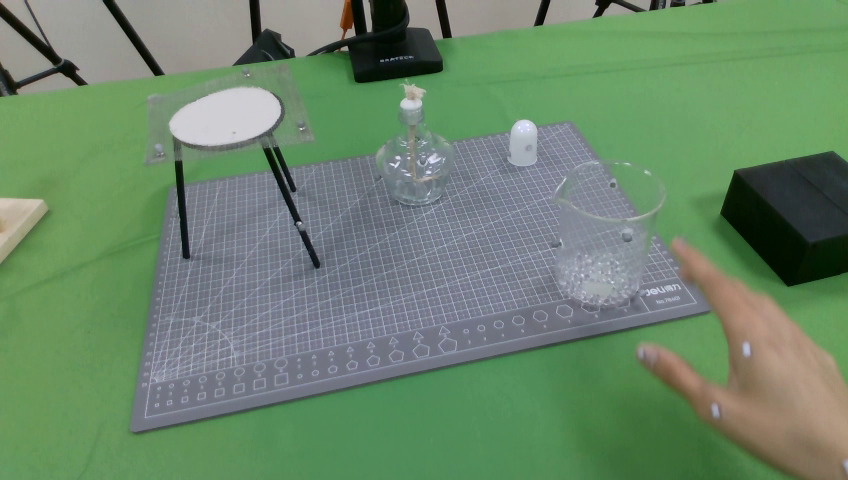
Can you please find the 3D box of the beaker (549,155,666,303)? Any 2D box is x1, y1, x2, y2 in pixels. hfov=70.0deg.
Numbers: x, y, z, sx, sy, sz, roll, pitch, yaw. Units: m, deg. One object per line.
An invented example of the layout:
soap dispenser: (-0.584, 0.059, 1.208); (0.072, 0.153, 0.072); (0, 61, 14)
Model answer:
beaker: (0.139, -0.005, 0.480); (0.084, 0.101, 0.073); (-3, 43, 3)

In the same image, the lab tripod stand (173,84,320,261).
lab tripod stand: (-0.156, -0.055, 0.530); (0.148, 0.133, 0.147); (-2, 45, 3)

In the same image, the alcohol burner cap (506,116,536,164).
alcohol burner cap: (0.103, -0.107, 0.635); (0.034, 0.048, 0.033); (-3, 43, 3)

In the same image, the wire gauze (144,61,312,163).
wire gauze: (-0.160, -0.104, 0.484); (0.125, 0.011, 0.120); (-15, 44, -10)

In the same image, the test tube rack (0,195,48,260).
test tube rack: (-0.439, 0.014, 0.517); (0.066, 0.086, 0.240); (3, 43, 7)

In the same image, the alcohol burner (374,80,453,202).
alcohol burner: (-0.011, -0.097, 0.579); (0.078, 0.120, 0.077); (-3, 41, 3)
